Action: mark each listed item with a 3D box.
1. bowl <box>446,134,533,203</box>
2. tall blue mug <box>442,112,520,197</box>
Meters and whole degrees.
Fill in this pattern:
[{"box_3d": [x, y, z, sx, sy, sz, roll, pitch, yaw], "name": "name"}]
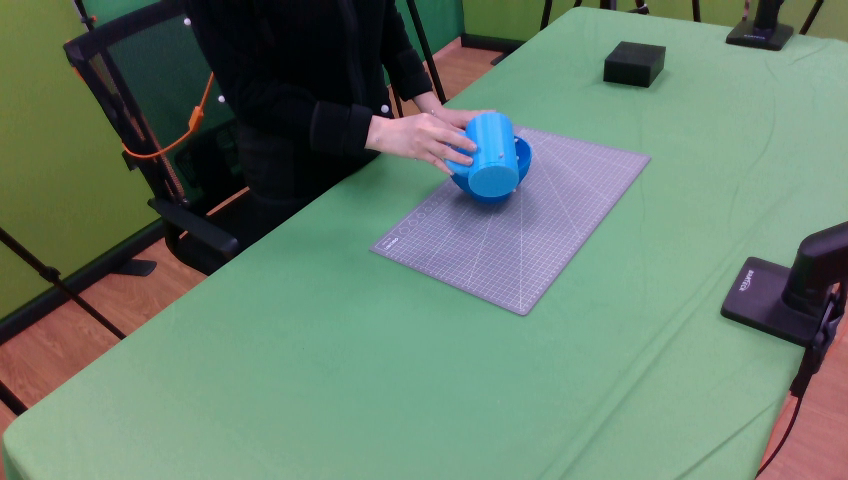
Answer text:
[{"box_3d": [0.115, -0.118, 1.056, 0.151, 0.077, 0.150, -6, 40, 5], "name": "bowl"}, {"box_3d": [0.091, -0.136, 0.926, 0.108, 0.077, 0.107, 19, 52, -28], "name": "tall blue mug"}]
